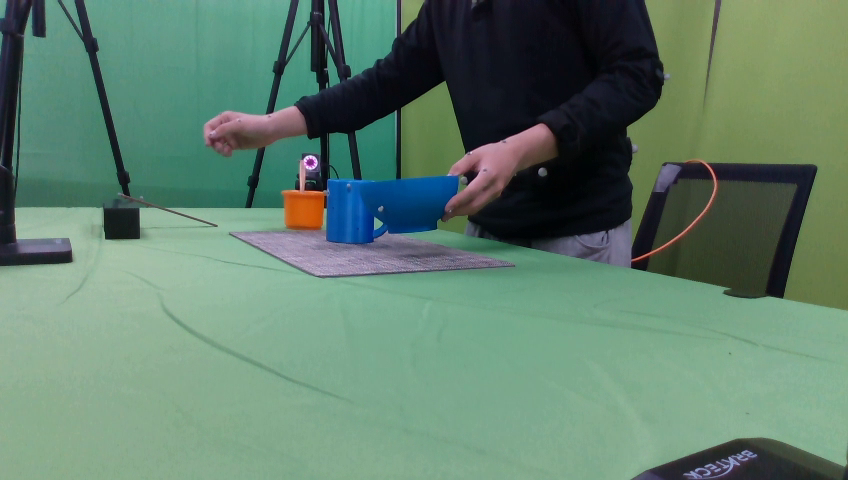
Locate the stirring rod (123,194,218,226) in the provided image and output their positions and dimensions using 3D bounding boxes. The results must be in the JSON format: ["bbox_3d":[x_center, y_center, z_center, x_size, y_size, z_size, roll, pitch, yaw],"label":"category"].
[{"bbox_3d":[-0.480,-0.056,1.153,0.177,0.006,0.014,20,-5,-29],"label":"stirring rod"}]

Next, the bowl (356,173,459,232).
[{"bbox_3d":[-0.021,-0.053,0.890,0.151,0.077,0.151,-5,4,1],"label":"bowl"}]

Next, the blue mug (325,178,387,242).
[{"bbox_3d":[-0.111,-0.052,1.033,0.116,0.106,0.082,3,7,7],"label":"blue mug"}]

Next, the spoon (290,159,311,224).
[{"bbox_3d":[-0.257,-0.104,1.265,0.042,0.193,0.021,2,-38,-11],"label":"spoon"}]
